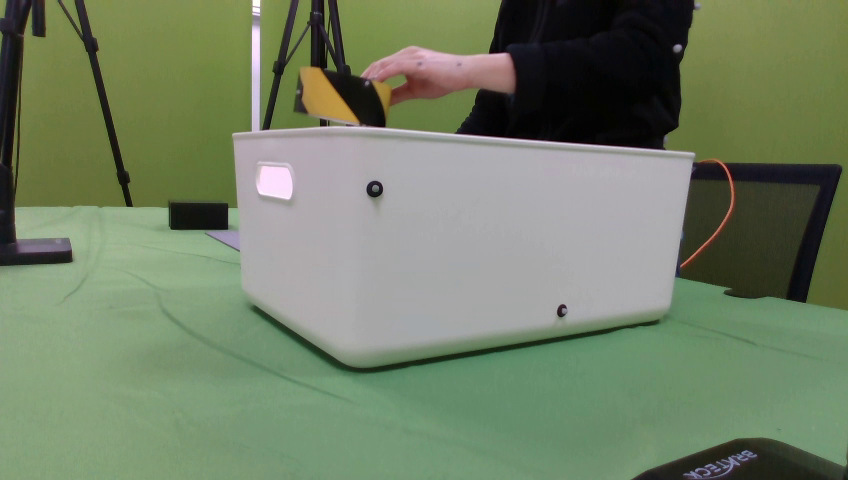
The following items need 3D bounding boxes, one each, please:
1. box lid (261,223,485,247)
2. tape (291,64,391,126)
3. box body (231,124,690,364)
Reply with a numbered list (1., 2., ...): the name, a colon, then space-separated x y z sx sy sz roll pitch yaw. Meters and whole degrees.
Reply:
1. box lid: -0.100 -0.009 1.085 0.373 0.015 0.262 0 7 -15
2. tape: -0.098 -0.170 0.718 0.117 0.052 0.117 11 8 -1
3. box body: 0.031 -0.013 0.563 0.366 0.160 0.253 -3 8 -33
